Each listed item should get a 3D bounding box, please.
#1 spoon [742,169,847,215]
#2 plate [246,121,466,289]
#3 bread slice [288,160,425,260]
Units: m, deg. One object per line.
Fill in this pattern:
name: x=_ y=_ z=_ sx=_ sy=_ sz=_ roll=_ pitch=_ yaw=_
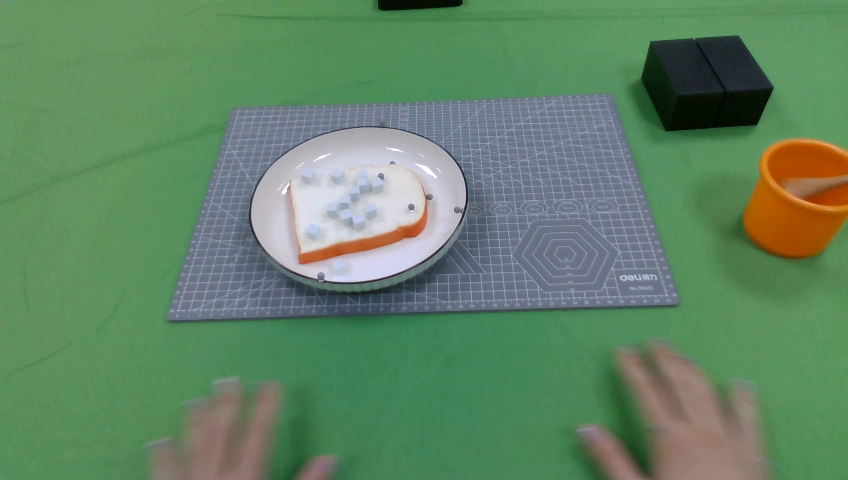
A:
spoon: x=0.367 y=-0.061 z=0.512 sx=0.193 sy=0.022 sz=0.041 roll=-19 pitch=38 yaw=42
plate: x=-0.064 y=-0.034 z=0.585 sx=0.209 sy=0.038 sz=0.207 roll=-1 pitch=51 yaw=1
bread slice: x=-0.066 y=-0.037 z=0.591 sx=0.132 sy=0.019 sz=0.103 roll=-14 pitch=52 yaw=-7
